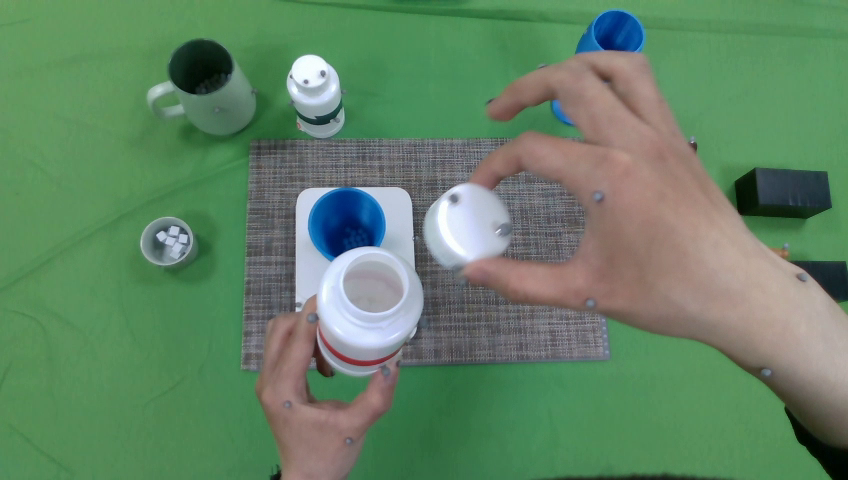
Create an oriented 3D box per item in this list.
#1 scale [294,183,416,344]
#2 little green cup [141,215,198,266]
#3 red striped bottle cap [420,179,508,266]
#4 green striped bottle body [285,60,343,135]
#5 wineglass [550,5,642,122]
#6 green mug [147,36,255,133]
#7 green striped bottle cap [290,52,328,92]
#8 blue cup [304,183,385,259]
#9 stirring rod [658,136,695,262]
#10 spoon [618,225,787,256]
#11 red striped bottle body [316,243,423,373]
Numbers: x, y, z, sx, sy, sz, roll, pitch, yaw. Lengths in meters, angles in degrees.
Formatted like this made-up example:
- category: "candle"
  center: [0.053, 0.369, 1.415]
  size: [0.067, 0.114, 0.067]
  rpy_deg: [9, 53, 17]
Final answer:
- category: "scale"
  center: [-0.087, 0.026, 0.759]
  size: [0.149, 0.031, 0.200]
  rpy_deg: [-2, 77, -4]
- category: "little green cup"
  center: [-0.311, 0.003, 0.749]
  size: [0.061, 0.039, 0.061]
  rpy_deg: [1, 76, -5]
- category: "red striped bottle cap"
  center: [0.021, -0.009, 0.314]
  size: [0.045, 0.017, 0.044]
  rpy_deg: [3, 81, -19]
- category: "green striped bottle body"
  center: [-0.138, -0.185, 0.765]
  size: [0.063, 0.119, 0.063]
  rpy_deg: [1, 75, -3]
- category: "wineglass"
  center: [0.213, -0.217, 0.769]
  size: [0.074, 0.173, 0.073]
  rpy_deg: [1, 76, -3]
- category: "green mug"
  center: [-0.284, -0.188, 0.764]
  size: [0.125, 0.105, 0.092]
  rpy_deg: [-23, 79, -8]
- category: "green striped bottle cap"
  center: [-0.136, -0.199, 0.715]
  size: [0.044, 0.020, 0.044]
  rpy_deg: [1, 75, -4]
- category: "blue cup"
  center: [-0.089, -0.010, 0.700]
  size: [0.093, 0.100, 0.092]
  rpy_deg: [1, 78, -6]
- category: "stirring rod"
  center: [0.309, -0.046, 0.746]
  size: [0.014, 0.177, 0.006]
  rpy_deg: [4, 35, 11]
- category: "spoon"
  center: [0.330, 0.005, 0.735]
  size: [0.022, 0.192, 0.041]
  rpy_deg: [20, 79, -44]
- category: "red striped bottle body"
  center: [-0.037, 0.043, 0.382]
  size: [0.063, 0.120, 0.062]
  rpy_deg: [4, 67, -9]
